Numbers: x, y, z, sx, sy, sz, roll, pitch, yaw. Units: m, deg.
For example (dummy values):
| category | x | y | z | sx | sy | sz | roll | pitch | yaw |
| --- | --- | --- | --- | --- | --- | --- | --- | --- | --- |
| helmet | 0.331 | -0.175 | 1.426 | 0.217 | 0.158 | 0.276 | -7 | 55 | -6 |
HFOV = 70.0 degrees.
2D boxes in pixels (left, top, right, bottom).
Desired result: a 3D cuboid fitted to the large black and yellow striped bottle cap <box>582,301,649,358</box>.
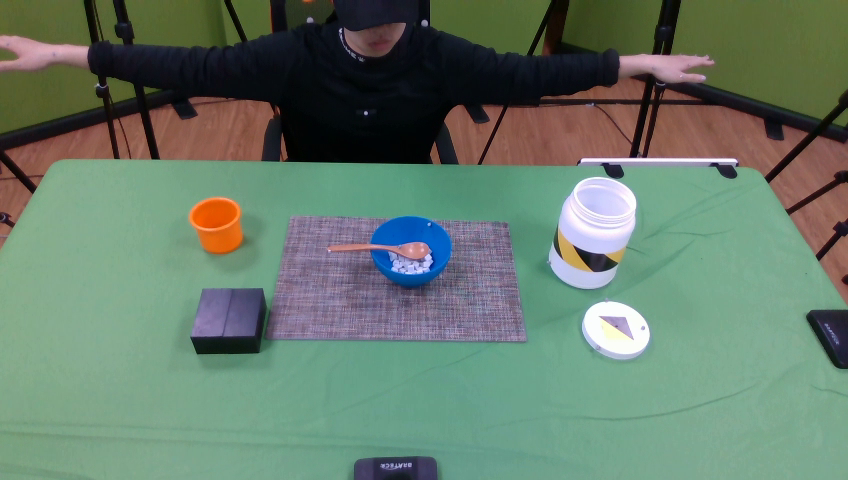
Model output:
| category | x | y | z | sx | sy | sz | roll | pitch | yaw |
| --- | --- | --- | --- | --- | --- | --- | --- | --- | --- |
| large black and yellow striped bottle cap | 0.340 | 0.157 | 1.077 | 0.115 | 0.019 | 0.114 | 1 | 47 | -1 |

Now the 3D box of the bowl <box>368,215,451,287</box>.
| category | x | y | z | sx | sy | sz | roll | pitch | yaw |
| --- | --- | --- | --- | --- | --- | --- | --- | --- | --- |
| bowl | -0.028 | 0.033 | 1.119 | 0.151 | 0.077 | 0.150 | 2 | 46 | -2 |

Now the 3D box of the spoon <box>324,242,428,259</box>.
| category | x | y | z | sx | sy | sz | roll | pitch | yaw |
| --- | --- | --- | --- | --- | --- | --- | --- | --- | --- |
| spoon | -0.083 | 0.015 | 1.085 | 0.194 | 0.022 | 0.041 | 4 | 46 | -26 |

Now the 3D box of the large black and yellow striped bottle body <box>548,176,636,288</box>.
| category | x | y | z | sx | sy | sz | roll | pitch | yaw |
| --- | --- | --- | --- | --- | --- | --- | --- | --- | --- |
| large black and yellow striped bottle body | 0.310 | -0.014 | 1.123 | 0.131 | 0.185 | 0.130 | 2 | 46 | -2 |
